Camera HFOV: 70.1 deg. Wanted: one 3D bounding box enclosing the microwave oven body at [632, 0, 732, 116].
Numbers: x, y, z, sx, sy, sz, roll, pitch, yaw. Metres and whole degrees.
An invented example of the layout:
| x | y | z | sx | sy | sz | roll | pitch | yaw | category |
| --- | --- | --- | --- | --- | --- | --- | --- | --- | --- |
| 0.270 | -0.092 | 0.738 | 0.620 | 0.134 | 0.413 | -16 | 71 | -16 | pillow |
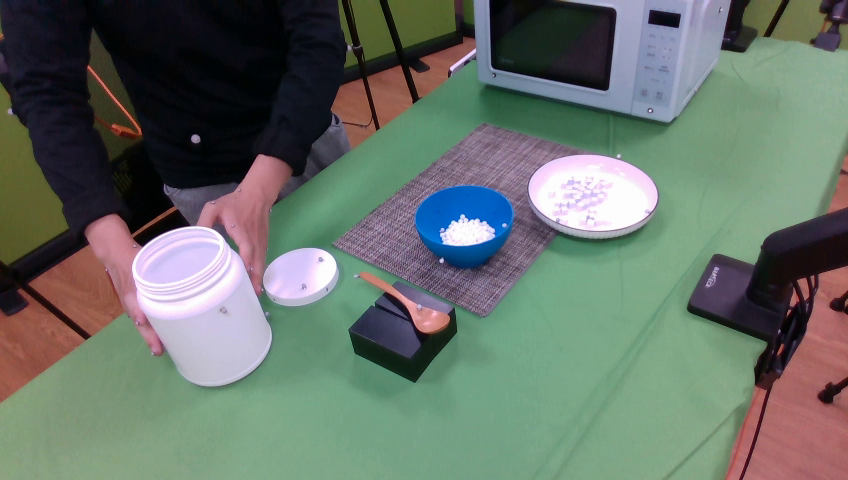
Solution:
| x | y | z | sx | sy | sz | roll | pitch | yaw | category |
| --- | --- | --- | --- | --- | --- | --- | --- | --- | --- |
| 0.377 | -0.462 | 1.267 | 0.438 | 0.261 | 0.327 | 21 | 48 | 30 | microwave oven body |

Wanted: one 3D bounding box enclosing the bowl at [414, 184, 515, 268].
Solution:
| x | y | z | sx | sy | sz | roll | pitch | yaw | category |
| --- | --- | --- | --- | --- | --- | --- | --- | --- | --- |
| 0.063 | -0.010 | 0.922 | 0.151 | 0.077 | 0.150 | -4 | 40 | 4 | bowl |

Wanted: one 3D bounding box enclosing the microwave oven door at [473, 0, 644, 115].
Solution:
| x | y | z | sx | sy | sz | roll | pitch | yaw | category |
| --- | --- | --- | --- | --- | --- | --- | --- | --- | --- |
| 0.257 | -0.396 | 1.199 | 0.353 | 0.245 | 0.039 | 21 | 48 | 29 | microwave oven door |

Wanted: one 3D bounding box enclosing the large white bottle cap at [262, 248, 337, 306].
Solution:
| x | y | z | sx | sy | sz | roll | pitch | yaw | category |
| --- | --- | --- | --- | --- | --- | --- | --- | --- | --- |
| -0.192 | 0.056 | 0.933 | 0.115 | 0.018 | 0.114 | -4 | 41 | 4 | large white bottle cap |

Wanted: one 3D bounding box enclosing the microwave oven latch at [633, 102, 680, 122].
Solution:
| x | y | z | sx | sy | sz | roll | pitch | yaw | category |
| --- | --- | --- | --- | --- | --- | --- | --- | --- | --- |
| 0.444 | -0.249 | 1.157 | 0.078 | 0.029 | 0.030 | 21 | 49 | 30 | microwave oven latch |

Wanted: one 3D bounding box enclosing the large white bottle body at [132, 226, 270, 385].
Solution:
| x | y | z | sx | sy | sz | roll | pitch | yaw | category |
| --- | --- | --- | --- | --- | --- | --- | --- | --- | --- |
| -0.286 | 0.085 | 0.784 | 0.130 | 0.185 | 0.130 | -4 | 41 | 4 | large white bottle body |

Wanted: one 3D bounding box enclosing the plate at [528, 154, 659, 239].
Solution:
| x | y | z | sx | sy | sz | roll | pitch | yaw | category |
| --- | --- | --- | --- | --- | --- | --- | --- | --- | --- |
| 0.274 | -0.069 | 0.993 | 0.209 | 0.038 | 0.208 | -2 | 42 | 2 | plate |

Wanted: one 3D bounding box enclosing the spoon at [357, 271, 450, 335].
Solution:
| x | y | z | sx | sy | sz | roll | pitch | yaw | category |
| --- | --- | --- | --- | --- | --- | --- | --- | --- | --- |
| -0.034 | 0.078 | 0.812 | 0.042 | 0.022 | 0.192 | -36 | 43 | -23 | spoon |
